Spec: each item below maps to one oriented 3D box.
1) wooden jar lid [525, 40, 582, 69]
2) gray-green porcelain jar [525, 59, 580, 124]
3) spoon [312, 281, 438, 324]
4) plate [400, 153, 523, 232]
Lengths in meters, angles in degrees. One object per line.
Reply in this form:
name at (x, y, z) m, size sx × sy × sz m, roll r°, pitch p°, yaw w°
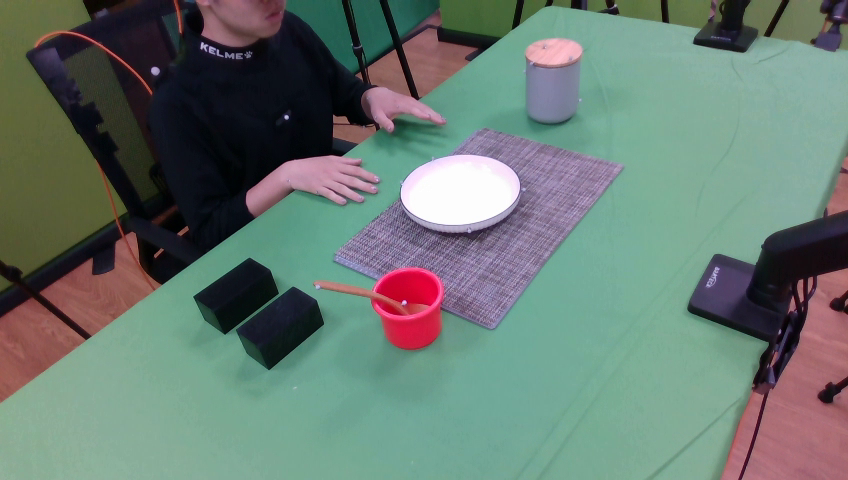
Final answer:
wooden jar lid at (0.249, -0.354, 1.167) m, size 0.108 × 0.021 × 0.108 m, roll -4°, pitch 44°, yaw 5°
gray-green porcelain jar at (0.256, -0.305, 1.209) m, size 0.106 × 0.127 × 0.105 m, roll -4°, pitch 41°, yaw 4°
spoon at (-0.060, 0.078, 0.793) m, size 0.195 × 0.021 × 0.041 m, roll 24°, pitch 24°, yaw -35°
plate at (0.065, -0.078, 1.034) m, size 0.207 × 0.039 × 0.206 m, roll -4°, pitch 41°, yaw 4°
